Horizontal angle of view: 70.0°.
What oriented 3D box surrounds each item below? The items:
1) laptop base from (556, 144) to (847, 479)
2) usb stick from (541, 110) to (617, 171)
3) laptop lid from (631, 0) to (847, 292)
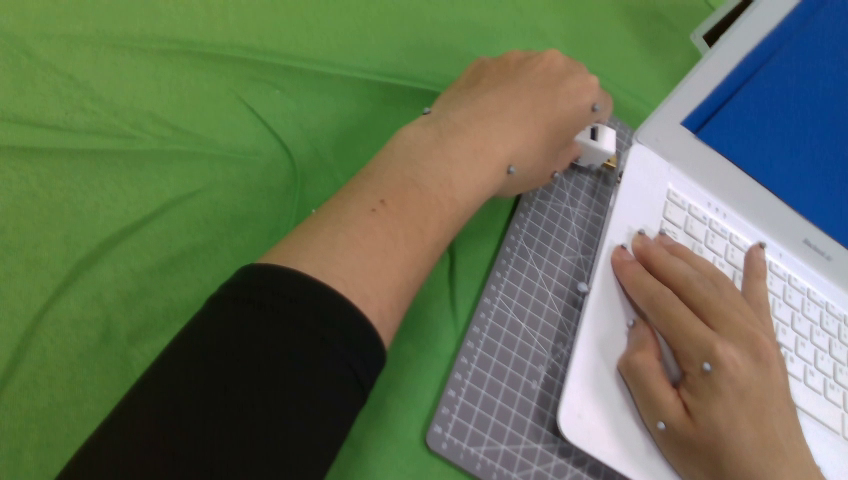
[{"bbox_3d":[0.253,0.107,0.415,0.355,0.023,0.234,32,57,-10],"label":"laptop base"},{"bbox_3d":[0.111,-0.065,0.414,0.059,0.027,0.021,18,57,-19],"label":"usb stick"},{"bbox_3d":[0.355,-0.058,0.418,0.358,0.242,0.013,31,33,-9],"label":"laptop lid"}]
